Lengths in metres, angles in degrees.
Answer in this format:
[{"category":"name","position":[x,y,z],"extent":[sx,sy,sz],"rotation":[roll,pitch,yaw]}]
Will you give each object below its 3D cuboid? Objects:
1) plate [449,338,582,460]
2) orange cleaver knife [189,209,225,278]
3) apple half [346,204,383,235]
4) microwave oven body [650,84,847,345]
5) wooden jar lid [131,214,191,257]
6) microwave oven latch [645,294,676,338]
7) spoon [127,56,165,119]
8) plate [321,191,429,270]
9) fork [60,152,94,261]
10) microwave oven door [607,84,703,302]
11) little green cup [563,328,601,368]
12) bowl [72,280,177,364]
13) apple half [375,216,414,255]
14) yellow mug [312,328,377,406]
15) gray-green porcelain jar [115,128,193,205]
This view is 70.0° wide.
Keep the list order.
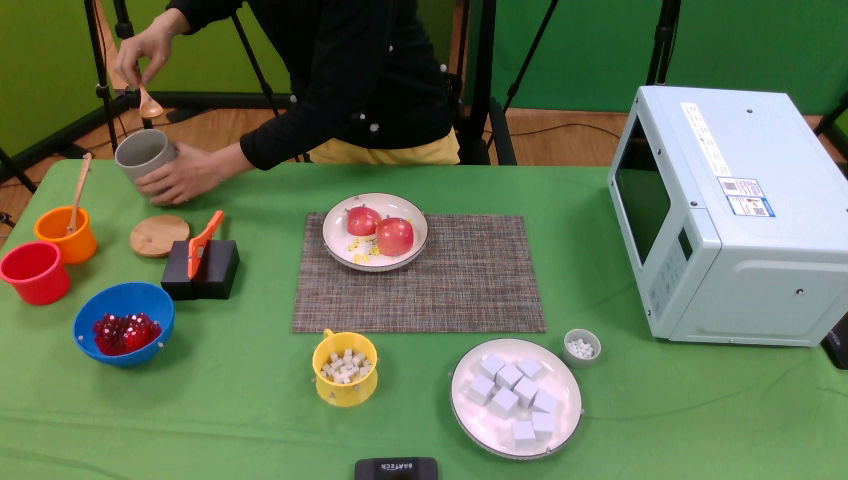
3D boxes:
[{"category":"plate","position":[0.141,0.251,0.956],"extent":[0.208,0.039,0.206],"rotation":[2,46,-2]},{"category":"orange cleaver knife","position":[-0.401,0.002,1.122],"extent":[0.012,0.077,0.210],"rotation":[3,22,-4]},{"category":"apple half","position":[-0.119,-0.049,1.207],"extent":[0.081,0.033,0.081],"rotation":[2,50,-3]},{"category":"microwave oven body","position":[0.569,-0.054,1.116],"extent":[0.326,0.261,0.439],"rotation":[2,46,-1]},{"category":"wooden jar lid","position":[-0.504,-0.007,1.167],"extent":[0.108,0.021,0.107],"rotation":[3,46,-3]},{"category":"microwave oven latch","position":[0.412,0.133,1.061],"extent":[0.030,0.029,0.078],"rotation":[3,46,0]},{"category":"spoon","position":[-0.539,-0.296,1.161],"extent":[0.041,0.022,0.192],"rotation":[-21,63,-20]},{"category":"plate","position":[-0.094,-0.015,1.185],"extent":[0.209,0.038,0.208],"rotation":[2,46,-2]},{"category":"fork","position":[-0.638,-0.063,1.119],"extent":[0.028,0.018,0.207],"rotation":[12,90,7]},{"category":"microwave oven door","position":[0.424,-0.096,1.138],"extent":[0.039,0.245,0.353],"rotation":[3,47,-1]},{"category":"little green cup","position":[0.265,0.185,1.025],"extent":[0.061,0.039,0.061],"rotation":[1,45,-1]},{"category":"bowl","position":[-0.473,0.147,0.982],"extent":[0.151,0.077,0.150],"rotation":[2,46,-2]},{"category":"apple half","position":[-0.056,-0.017,1.169],"extent":[0.075,0.053,0.080],"rotation":[0,45,-7]},{"category":"yellow mug","position":[-0.133,0.193,0.971],"extent":[0.100,0.064,0.130],"rotation":[-22,51,-23]},{"category":"gray-green porcelain jar","position":[-0.532,-0.141,1.210],"extent":[0.106,0.127,0.105],"rotation":[-4,53,6]}]
